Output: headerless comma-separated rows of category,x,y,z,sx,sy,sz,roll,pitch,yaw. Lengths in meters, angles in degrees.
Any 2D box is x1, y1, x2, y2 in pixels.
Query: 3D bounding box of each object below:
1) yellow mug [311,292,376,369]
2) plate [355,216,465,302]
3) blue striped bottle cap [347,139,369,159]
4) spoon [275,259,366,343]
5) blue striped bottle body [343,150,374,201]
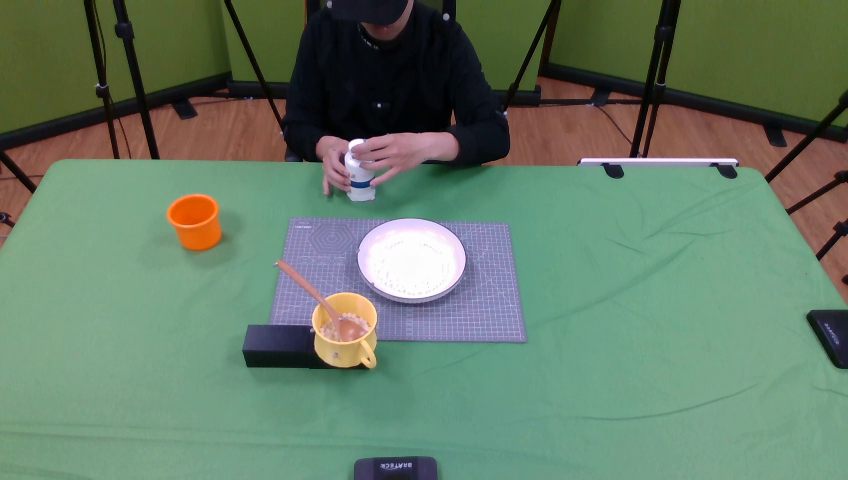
yellow mug,-0.115,0.150,0.945,0.100,0.064,0.130,-29,57,-28
plate,-0.027,0.039,1.144,0.208,0.039,0.206,2,46,-2
blue striped bottle cap,-0.134,-0.184,1.216,0.044,0.021,0.044,3,45,-3
spoon,-0.161,0.098,0.946,0.194,0.021,0.041,48,56,-5
blue striped bottle body,-0.136,-0.145,1.257,0.063,0.121,0.062,3,47,-3
